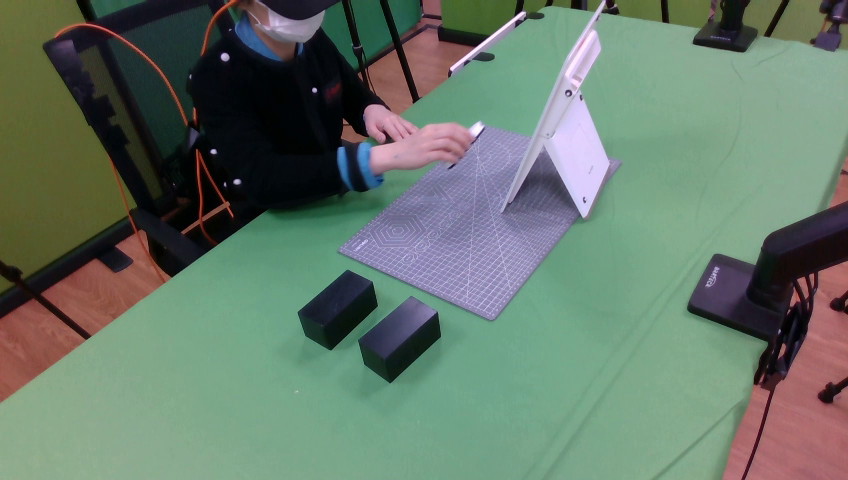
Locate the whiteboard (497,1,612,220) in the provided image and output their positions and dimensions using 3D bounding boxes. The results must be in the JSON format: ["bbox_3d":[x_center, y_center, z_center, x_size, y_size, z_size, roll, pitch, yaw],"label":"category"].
[{"bbox_3d":[0.259,-0.177,0.963,0.143,0.306,0.217,28,48,9],"label":"whiteboard"}]

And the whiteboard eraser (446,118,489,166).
[{"bbox_3d":[0.073,-0.165,1.023,0.101,0.019,0.041,-51,12,-12],"label":"whiteboard eraser"}]
